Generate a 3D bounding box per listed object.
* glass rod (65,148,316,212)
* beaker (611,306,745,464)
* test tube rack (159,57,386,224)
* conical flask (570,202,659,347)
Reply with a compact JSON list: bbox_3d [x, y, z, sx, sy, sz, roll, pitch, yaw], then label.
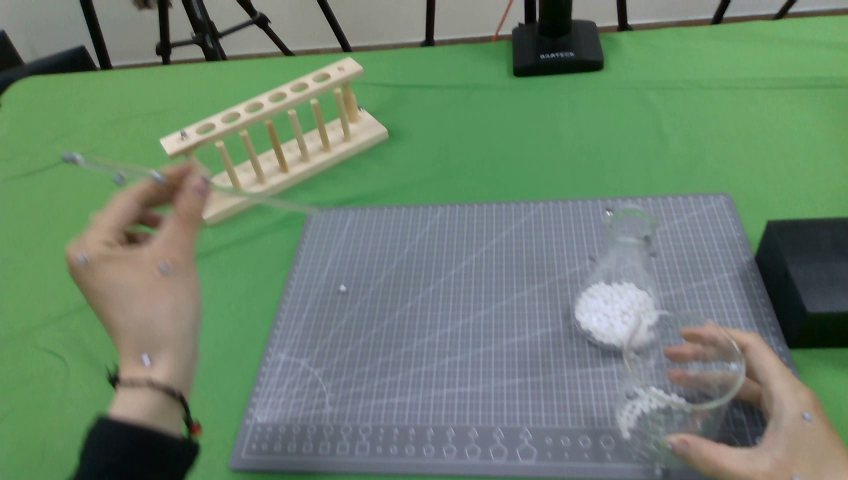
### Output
[{"bbox_3d":[-0.146,-0.037,0.424,0.008,0.201,0.008,-5,81,33],"label":"glass rod"},{"bbox_3d":[0.171,0.105,0.430,0.074,0.101,0.083,-20,46,-9],"label":"beaker"},{"bbox_3d":[-0.170,-0.121,0.714,0.242,0.086,0.066,-30,49,-18],"label":"test tube rack"},{"bbox_3d":[0.159,0.025,0.491,0.075,0.123,0.074,-5,46,5],"label":"conical flask"}]
